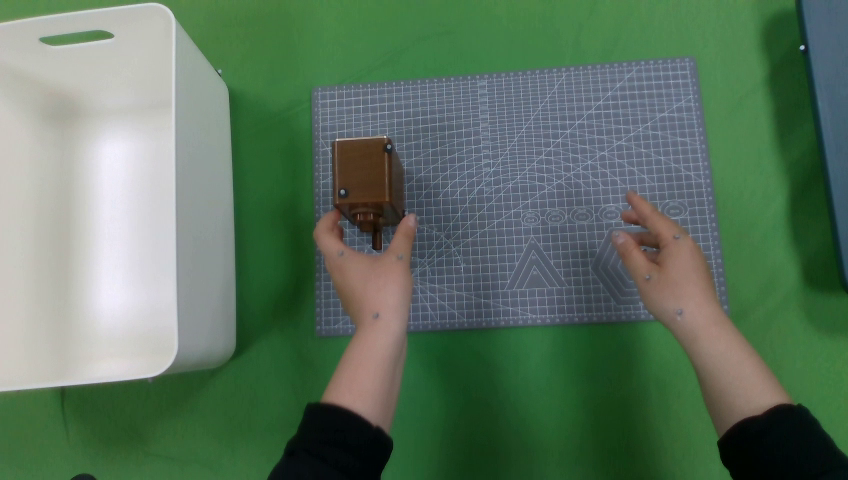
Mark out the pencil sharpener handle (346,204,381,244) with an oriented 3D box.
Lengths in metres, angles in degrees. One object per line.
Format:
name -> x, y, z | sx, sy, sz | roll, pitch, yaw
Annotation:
pencil sharpener handle -> -0.057, -0.016, 0.627 | 0.036, 0.068, 0.030 | -5, 80, 11

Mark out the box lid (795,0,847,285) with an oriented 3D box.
box lid -> 0.535, -0.133, 0.616 | 0.263, 0.015, 0.370 | -3, 80, 4

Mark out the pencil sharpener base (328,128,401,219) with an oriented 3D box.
pencil sharpener base -> -0.060, -0.064, 0.647 | 0.061, 0.107, 0.076 | -3, 80, 4

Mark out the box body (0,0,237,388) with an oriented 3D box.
box body -> -0.348, -0.035, 0.642 | 0.254, 0.161, 0.362 | -6, 80, 3
